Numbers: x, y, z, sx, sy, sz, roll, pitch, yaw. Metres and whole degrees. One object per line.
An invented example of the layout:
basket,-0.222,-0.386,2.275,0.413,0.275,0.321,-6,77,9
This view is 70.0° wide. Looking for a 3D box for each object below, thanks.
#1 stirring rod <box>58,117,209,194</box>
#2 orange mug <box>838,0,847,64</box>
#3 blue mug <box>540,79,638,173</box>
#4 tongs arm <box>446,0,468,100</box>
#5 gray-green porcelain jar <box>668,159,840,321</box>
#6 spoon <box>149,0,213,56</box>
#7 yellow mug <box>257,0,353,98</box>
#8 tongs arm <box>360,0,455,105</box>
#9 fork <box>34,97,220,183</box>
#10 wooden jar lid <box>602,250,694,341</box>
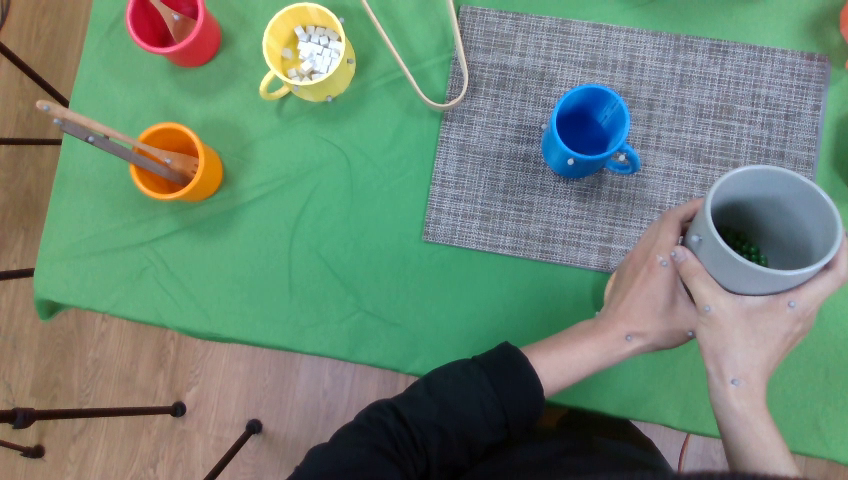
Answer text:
stirring rod,-0.335,-0.096,0.711,0.006,0.178,0.014,-2,67,47
orange mug,0.531,-0.259,0.683,0.083,0.101,0.126,33,85,6
blue mug,0.192,-0.117,0.691,0.116,0.106,0.082,35,89,6
tongs arm,0.002,-0.364,0.740,0.028,0.027,0.387,-15,92,-5
gray-green porcelain jar,0.283,0.007,0.541,0.106,0.127,0.105,-2,61,4
spoon,-0.335,-0.298,0.723,0.041,0.021,0.196,-46,128,-1
yellow mug,-0.154,-0.222,0.745,0.131,0.064,0.100,-42,85,2
tongs arm,-0.075,-0.331,0.740,0.051,0.026,0.385,-29,92,-1
fork,-0.340,-0.115,0.709,0.209,0.018,0.028,24,87,-38
wooden jar lid,0.266,0.065,0.720,0.108,0.021,0.108,0,90,6
